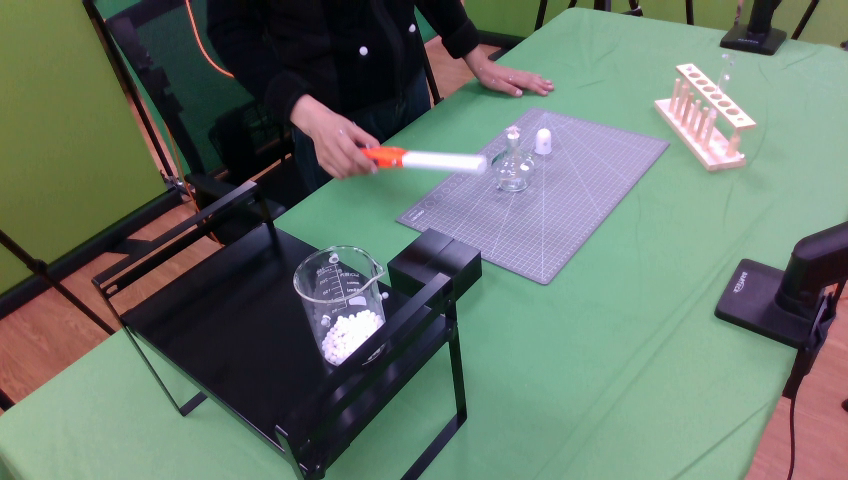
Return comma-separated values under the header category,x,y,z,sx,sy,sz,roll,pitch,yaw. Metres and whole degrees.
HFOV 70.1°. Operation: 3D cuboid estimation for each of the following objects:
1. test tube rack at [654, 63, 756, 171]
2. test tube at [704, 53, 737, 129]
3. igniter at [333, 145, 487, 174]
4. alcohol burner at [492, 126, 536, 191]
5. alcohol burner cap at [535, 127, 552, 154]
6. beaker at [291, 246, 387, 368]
category,x,y,z,sx,sy,sz,roll,pitch,yaw
test tube rack,0.510,-0.233,1.120,0.067,0.085,0.241,-8,41,-1
test tube,0.526,-0.261,1.074,0.017,0.151,0.017,-2,44,2
igniter,-0.032,-0.123,0.909,0.274,0.025,0.057,10,31,32
alcohol burner,0.155,-0.146,1.046,0.078,0.119,0.077,-4,43,4
alcohol burner cap,0.227,-0.190,1.142,0.034,0.048,0.033,-3,40,3
beaker,-0.073,0.066,0.573,0.084,0.101,0.073,-7,41,0
